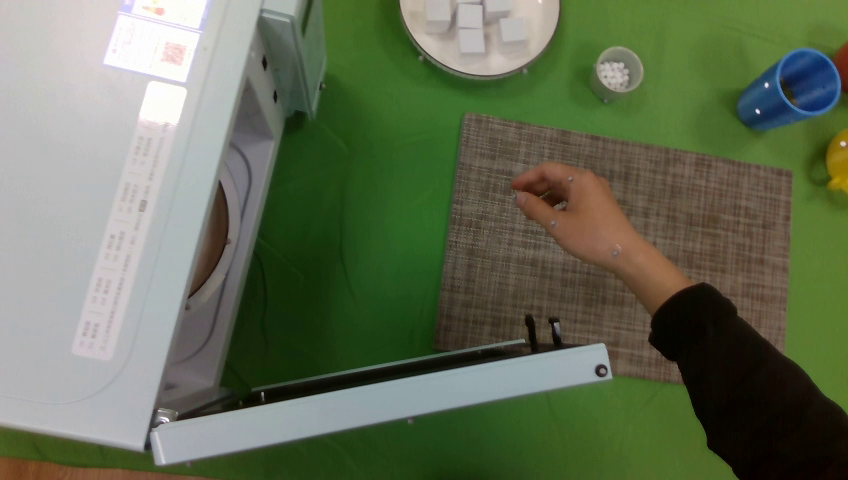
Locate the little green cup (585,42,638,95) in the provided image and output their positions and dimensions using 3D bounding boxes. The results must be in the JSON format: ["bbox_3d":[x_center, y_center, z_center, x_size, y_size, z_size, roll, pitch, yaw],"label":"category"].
[{"bbox_3d":[0.240,-0.219,0.784,0.061,0.038,0.061,1,81,-6],"label":"little green cup"}]

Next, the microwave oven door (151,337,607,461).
[{"bbox_3d":[-0.039,0.139,0.579,0.356,0.244,0.039,-9,81,-8],"label":"microwave oven door"}]

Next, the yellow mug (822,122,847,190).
[{"bbox_3d":[0.582,-0.110,0.796,0.131,0.064,0.100,-33,87,-9],"label":"yellow mug"}]

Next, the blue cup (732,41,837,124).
[{"bbox_3d":[0.450,-0.192,0.774,0.093,0.100,0.092,1,83,-7],"label":"blue cup"}]

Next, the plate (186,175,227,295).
[{"bbox_3d":[-0.309,-0.022,0.624,0.209,0.038,0.208,1,83,-8],"label":"plate"}]

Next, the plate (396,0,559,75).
[{"bbox_3d":[0.067,-0.306,0.774,0.208,0.039,0.207,1,82,-7],"label":"plate"}]

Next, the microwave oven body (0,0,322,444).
[{"bbox_3d":[-0.306,-0.071,0.580,0.327,0.260,0.440,12,82,-6],"label":"microwave oven body"}]

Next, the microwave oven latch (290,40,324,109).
[{"bbox_3d":[-0.139,-0.198,0.715,0.030,0.029,0.079,14,81,-5],"label":"microwave oven latch"}]

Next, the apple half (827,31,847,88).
[{"bbox_3d":[0.572,-0.247,0.811,0.053,0.075,0.080,14,84,-1],"label":"apple half"}]
